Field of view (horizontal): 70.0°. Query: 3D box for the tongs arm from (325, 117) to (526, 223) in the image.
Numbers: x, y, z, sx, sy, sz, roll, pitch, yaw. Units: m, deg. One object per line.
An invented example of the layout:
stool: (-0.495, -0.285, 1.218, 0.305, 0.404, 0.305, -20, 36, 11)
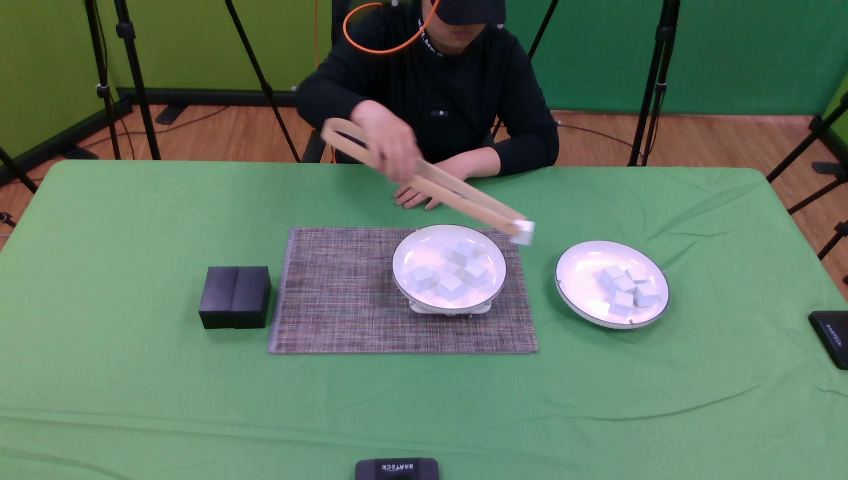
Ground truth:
tongs arm: (0.001, -0.122, 1.061, 0.387, 0.028, 0.028, 27, 42, 2)

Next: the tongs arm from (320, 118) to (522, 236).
tongs arm: (-0.006, -0.109, 1.042, 0.385, 0.026, 0.050, 25, 38, -2)

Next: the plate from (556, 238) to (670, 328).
plate: (0.347, 0.083, 1.130, 0.209, 0.038, 0.208, 2, 47, -2)

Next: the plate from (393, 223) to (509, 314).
plate: (0.048, 0.053, 1.091, 0.208, 0.039, 0.206, 1, 46, -1)

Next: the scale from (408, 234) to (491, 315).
scale: (0.045, 0.055, 1.135, 0.149, 0.032, 0.199, 1, 46, -3)
